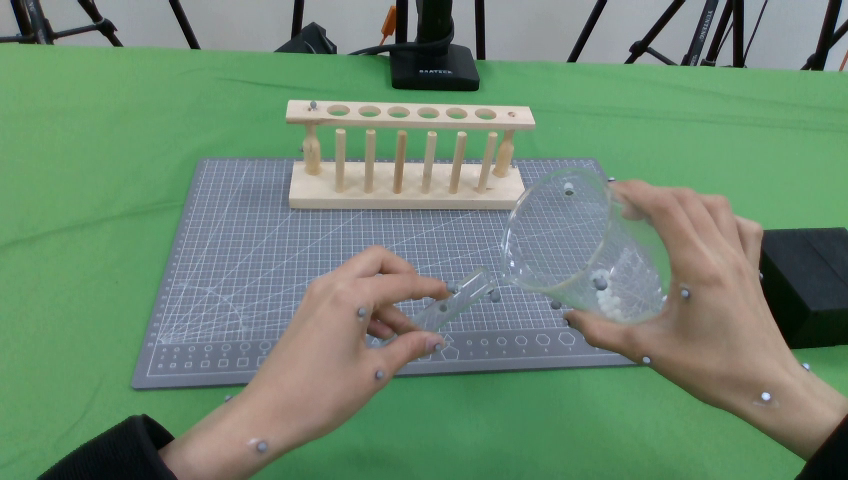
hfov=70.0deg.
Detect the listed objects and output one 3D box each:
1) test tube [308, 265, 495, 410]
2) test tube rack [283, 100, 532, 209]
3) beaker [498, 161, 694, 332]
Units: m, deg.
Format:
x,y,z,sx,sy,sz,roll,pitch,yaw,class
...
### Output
x,y,z,sx,sy,sz,roll,pitch,yaw,class
-0.018,0.064,0.377,0.150,0.017,0.017,-38,41,18,test tube
-0.016,-0.085,0.612,0.243,0.086,0.066,0,42,-7,test tube rack
0.103,0.011,0.359,0.101,0.084,0.073,25,33,-35,beaker
